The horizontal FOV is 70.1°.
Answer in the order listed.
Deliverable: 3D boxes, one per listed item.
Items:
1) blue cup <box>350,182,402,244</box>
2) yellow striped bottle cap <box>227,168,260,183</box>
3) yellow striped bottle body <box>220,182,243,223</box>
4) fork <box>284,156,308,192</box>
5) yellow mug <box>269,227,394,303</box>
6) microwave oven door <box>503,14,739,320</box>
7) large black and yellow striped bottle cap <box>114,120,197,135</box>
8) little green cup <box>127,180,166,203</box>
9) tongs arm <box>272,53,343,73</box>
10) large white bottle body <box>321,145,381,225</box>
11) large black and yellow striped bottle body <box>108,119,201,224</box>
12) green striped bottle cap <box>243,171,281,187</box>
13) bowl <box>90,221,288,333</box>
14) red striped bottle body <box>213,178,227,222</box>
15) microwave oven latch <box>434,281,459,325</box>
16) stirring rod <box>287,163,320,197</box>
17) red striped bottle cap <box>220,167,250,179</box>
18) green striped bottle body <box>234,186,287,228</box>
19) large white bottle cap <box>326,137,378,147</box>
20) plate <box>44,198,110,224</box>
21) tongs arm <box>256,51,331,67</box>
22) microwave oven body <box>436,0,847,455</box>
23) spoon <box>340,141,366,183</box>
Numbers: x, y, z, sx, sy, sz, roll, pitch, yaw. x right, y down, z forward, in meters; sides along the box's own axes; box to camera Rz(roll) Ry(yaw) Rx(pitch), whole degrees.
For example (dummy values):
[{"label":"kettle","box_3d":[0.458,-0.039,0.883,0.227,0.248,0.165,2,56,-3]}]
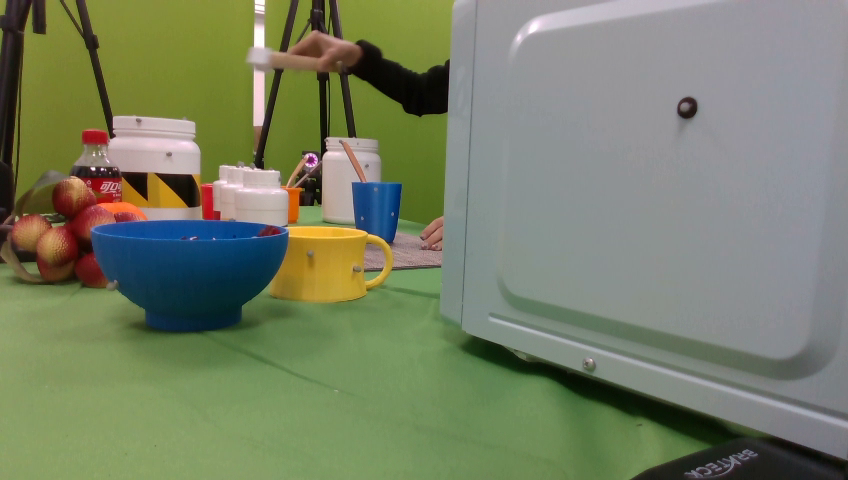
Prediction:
[{"label":"blue cup","box_3d":[-0.080,-0.046,1.012,0.093,0.100,0.092,1,7,0]},{"label":"yellow striped bottle cap","box_3d":[-0.243,-0.087,0.818,0.044,0.018,0.044,3,6,0]},{"label":"yellow striped bottle body","box_3d":[-0.245,-0.036,0.825,0.063,0.120,0.063,3,8,0]},{"label":"fork","box_3d":[-0.295,-0.116,1.323,0.028,0.019,0.207,0,50,21]},{"label":"yellow mug","box_3d":[-0.094,0.023,0.629,0.131,0.064,0.099,0,7,-22]},{"label":"microwave oven door","box_3d":[0.218,-0.065,0.600,0.358,0.243,0.039,-4,10,-41]},{"label":"large black and yellow striped bottle cap","box_3d":[-0.407,-0.171,0.920,0.115,0.019,0.115,2,9,0]},{"label":"little green cup","box_3d":[-0.486,-0.086,1.061,0.061,0.038,0.061,1,7,0]},{"label":"tongs arm","box_3d":[-0.237,-0.360,1.237,0.050,0.026,0.385,10,16,12]},{"label":"large white bottle body","box_3d":[-0.161,-0.131,1.340,0.131,0.184,0.130,2,8,0]},{"label":"large black and yellow striped bottle body","box_3d":[-0.412,-0.088,0.930,0.131,0.184,0.130,3,7,0]},{"label":"green striped bottle cap","box_3d":[-0.198,-0.074,0.736,0.044,0.020,0.044,1,8,0]},{"label":"bowl","box_3d":[-0.190,0.029,0.500,0.151,0.077,0.151,3,7,0]},{"label":"red striped bottle body","box_3d":[-0.284,-0.048,0.910,0.063,0.119,0.063,3,12,0]},{"label":"microwave oven latch","box_3d":[0.044,0.045,0.470,0.079,0.029,0.030,-3,8,-39]},{"label":"stirring rod","box_3d":[-0.283,-0.107,1.297,0.014,0.006,0.176,9,52,51]},{"label":"red striped bottle cap","box_3d":[-0.281,-0.100,0.901,0.044,0.017,0.044,-1,4,0]},{"label":"green striped bottle body","box_3d":[-0.201,-0.023,0.743,0.063,0.119,0.063,2,7,0]},{"label":"large white bottle cap","box_3d":[-0.158,-0.214,1.328,0.115,0.018,0.115,2,7,0]},{"label":"plate","box_3d":[-0.617,-0.056,1.179,0.209,0.038,0.209,3,7,0]},{"label":"tongs arm","box_3d":[-0.259,-0.364,1.240,0.028,0.028,0.388,6,15,8]},{"label":"microwave oven body","box_3d":[0.279,-0.040,0.465,0.444,0.260,0.324,-3,9,-41]},{"label":"spoon","box_3d":[-0.103,-0.089,1.028,0.021,0.193,0.042,-33,-19,37]}]
